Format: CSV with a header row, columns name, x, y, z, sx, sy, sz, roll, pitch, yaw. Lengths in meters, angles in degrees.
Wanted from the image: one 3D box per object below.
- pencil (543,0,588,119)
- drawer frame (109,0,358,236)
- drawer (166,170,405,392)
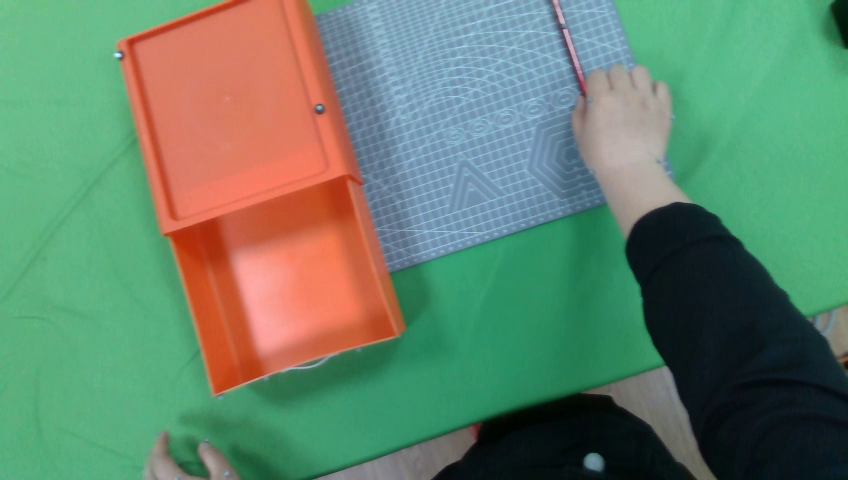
name,x,y,z,sx,sy,sz,roll,pitch,yaw
pencil,0.141,-0.218,0.639,0.012,0.012,0.193,-18,87,5
drawer frame,-0.197,-0.130,0.635,0.201,0.083,0.213,-19,84,6
drawer,-0.146,0.026,0.625,0.194,0.073,0.211,-19,87,7
